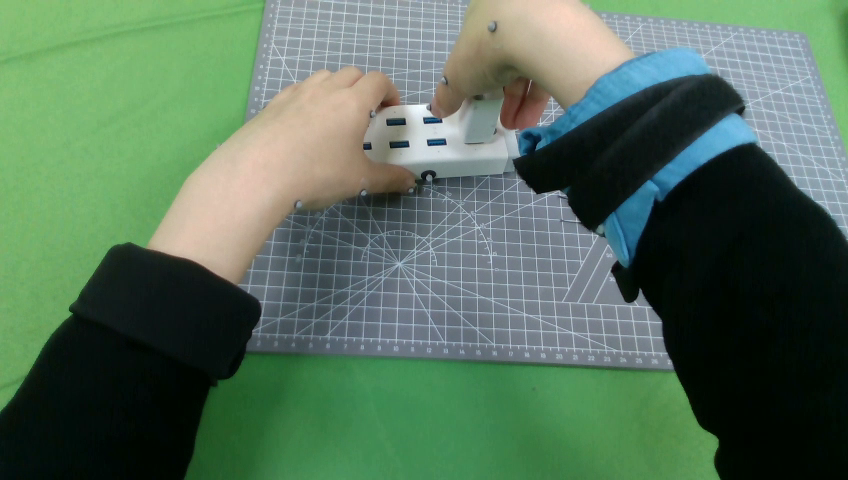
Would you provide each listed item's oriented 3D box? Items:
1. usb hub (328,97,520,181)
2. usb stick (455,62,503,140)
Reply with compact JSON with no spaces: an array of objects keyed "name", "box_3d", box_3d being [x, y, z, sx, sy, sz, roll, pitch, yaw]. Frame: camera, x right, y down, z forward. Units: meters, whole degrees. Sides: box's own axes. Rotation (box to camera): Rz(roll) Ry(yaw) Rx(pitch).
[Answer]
[{"name":"usb hub","box_3d":[-0.001,-0.070,0.413,0.125,0.025,0.049,-5,65,-9]},{"name":"usb stick","box_3d":[0.034,-0.084,0.388,0.021,0.059,0.027,-5,61,-8]}]
